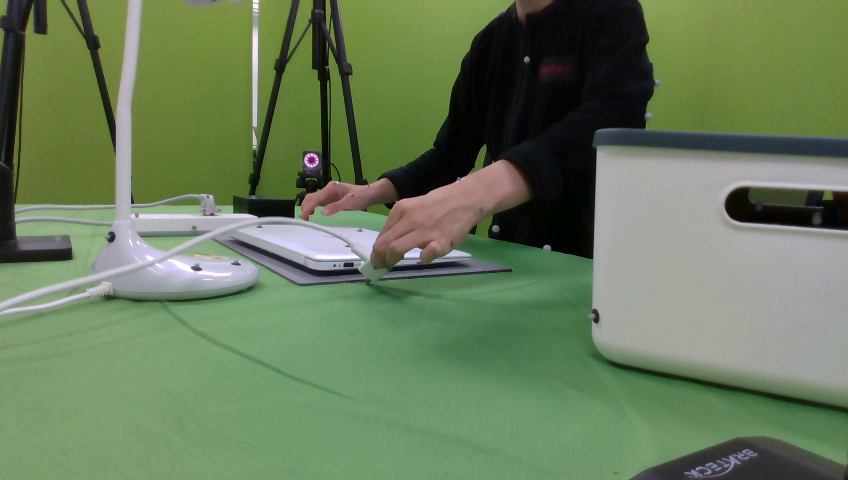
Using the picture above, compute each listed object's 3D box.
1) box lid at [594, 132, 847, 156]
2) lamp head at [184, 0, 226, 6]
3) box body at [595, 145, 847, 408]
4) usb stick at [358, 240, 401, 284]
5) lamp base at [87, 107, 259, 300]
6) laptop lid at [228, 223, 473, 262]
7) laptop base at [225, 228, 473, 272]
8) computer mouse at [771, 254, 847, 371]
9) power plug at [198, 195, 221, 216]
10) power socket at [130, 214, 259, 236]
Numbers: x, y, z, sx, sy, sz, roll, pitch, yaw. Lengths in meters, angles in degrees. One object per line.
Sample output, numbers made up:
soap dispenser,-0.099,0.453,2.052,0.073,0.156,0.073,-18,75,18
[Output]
box lid,0.310,-0.066,0.499,0.262,0.015,0.373,7,8,29
lamp head,-0.229,-0.320,0.627,0.112,0.112,0.123,6,-35,26
box body,0.309,0.006,0.509,0.253,0.160,0.366,6,8,29
usb stick,-0.052,0.027,0.658,0.027,0.059,0.021,35,42,-10
lamp base,-0.254,-0.039,0.603,0.160,0.180,0.179,5,10,18
laptop lid,-0.123,-0.001,0.888,0.243,0.013,0.355,1,7,-33
laptop base,-0.125,0.011,0.889,0.237,0.023,0.352,1,7,-35
computer mouse,0.344,0.057,0.519,0.063,0.041,0.117,12,47,3
power plug,-0.386,-0.055,1.088,0.035,0.052,0.072,-1,6,-24
power socket,-0.397,-0.028,1.048,0.228,0.032,0.072,-3,7,-35
